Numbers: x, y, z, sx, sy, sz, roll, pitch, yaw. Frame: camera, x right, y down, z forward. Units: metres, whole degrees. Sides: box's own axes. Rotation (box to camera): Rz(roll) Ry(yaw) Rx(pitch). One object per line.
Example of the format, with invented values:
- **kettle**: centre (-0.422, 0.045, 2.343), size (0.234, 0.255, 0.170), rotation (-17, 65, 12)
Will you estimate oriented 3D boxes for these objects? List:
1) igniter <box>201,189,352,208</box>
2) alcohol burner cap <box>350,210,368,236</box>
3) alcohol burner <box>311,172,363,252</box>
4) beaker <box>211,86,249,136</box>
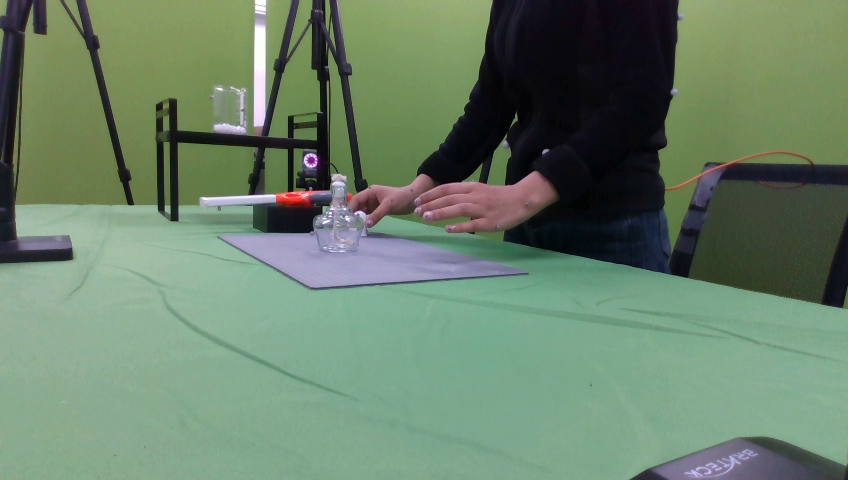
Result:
- **igniter**: centre (-0.271, -0.078, 1.139), size (0.278, 0.025, 0.057), rotation (-5, 11, -28)
- **alcohol burner cap**: centre (-0.116, -0.031, 1.095), size (0.034, 0.048, 0.034), rotation (2, 3, 0)
- **alcohol burner**: centre (-0.130, -0.042, 0.906), size (0.078, 0.119, 0.078), rotation (2, 6, 0)
- **beaker**: centre (-0.413, -0.274, 1.297), size (0.074, 0.100, 0.083), rotation (-5, 11, -44)
